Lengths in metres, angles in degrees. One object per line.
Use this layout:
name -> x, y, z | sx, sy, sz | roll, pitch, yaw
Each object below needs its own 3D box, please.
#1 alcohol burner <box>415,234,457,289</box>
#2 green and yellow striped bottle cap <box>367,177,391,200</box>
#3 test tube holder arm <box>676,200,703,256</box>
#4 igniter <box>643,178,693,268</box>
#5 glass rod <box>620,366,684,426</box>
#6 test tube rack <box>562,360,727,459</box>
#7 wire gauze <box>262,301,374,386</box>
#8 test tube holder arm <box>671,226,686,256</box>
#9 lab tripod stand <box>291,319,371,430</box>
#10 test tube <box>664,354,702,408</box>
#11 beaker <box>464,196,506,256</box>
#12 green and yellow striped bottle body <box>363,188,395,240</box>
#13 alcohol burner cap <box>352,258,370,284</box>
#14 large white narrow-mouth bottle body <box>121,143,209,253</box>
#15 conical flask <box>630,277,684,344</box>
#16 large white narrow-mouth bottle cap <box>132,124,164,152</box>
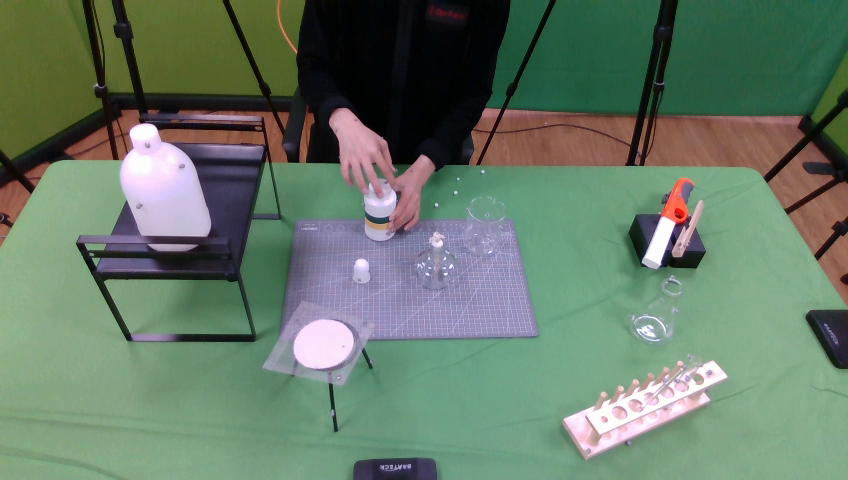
alcohol burner -> 0.022, 0.033, 1.099 | 0.078, 0.120, 0.077 | 1, 47, -1
green and yellow striped bottle cap -> -0.085, -0.097, 1.140 | 0.045, 0.020, 0.045 | 3, 46, -3
test tube holder arm -> 0.523, -0.025, 1.190 | 0.013, 0.015, 0.178 | 1, 36, 41
igniter -> 0.488, -0.042, 1.205 | 0.057, 0.025, 0.276 | 30, 51, 11
glass rod -> 0.322, 0.227, 0.866 | 0.008, 0.200, 0.008 | 5, 51, -7
test tube rack -> 0.341, 0.247, 0.940 | 0.243, 0.085, 0.066 | -16, 49, -19
wire gauze -> -0.150, 0.148, 0.873 | 0.121, 0.011, 0.124 | 14, 46, 12
test tube holder arm -> 0.494, 0.001, 1.166 | 0.010, 0.015, 0.087 | 1, 36, 42
lab tripod stand -> -0.146, 0.194, 0.923 | 0.148, 0.132, 0.147 | 1, 47, -1
test tube -> 0.385, 0.215, 0.906 | 0.017, 0.151, 0.017 | -1, 49, 1
beaker -> 0.117, -0.026, 1.174 | 0.074, 0.101, 0.083 | 21, 48, 15
green and yellow striped bottle body -> -0.087, -0.061, 1.177 | 0.063, 0.120, 0.063 | 2, 46, -2
alcohol burner cap -> -0.117, 0.055, 1.118 | 0.034, 0.048, 0.033 | 2, 46, -2
large white narrow-mouth bottle body -> -0.378, -0.077, 0.875 | 0.102, 0.195, 0.101 | 3, 46, -3
conical flask -> 0.408, 0.117, 1.045 | 0.075, 0.122, 0.075 | 2, 46, -2
large white narrow-mouth bottle cap -> -0.370, -0.138, 0.812 | 0.038, 0.024, 0.037 | 3, 46, -3
